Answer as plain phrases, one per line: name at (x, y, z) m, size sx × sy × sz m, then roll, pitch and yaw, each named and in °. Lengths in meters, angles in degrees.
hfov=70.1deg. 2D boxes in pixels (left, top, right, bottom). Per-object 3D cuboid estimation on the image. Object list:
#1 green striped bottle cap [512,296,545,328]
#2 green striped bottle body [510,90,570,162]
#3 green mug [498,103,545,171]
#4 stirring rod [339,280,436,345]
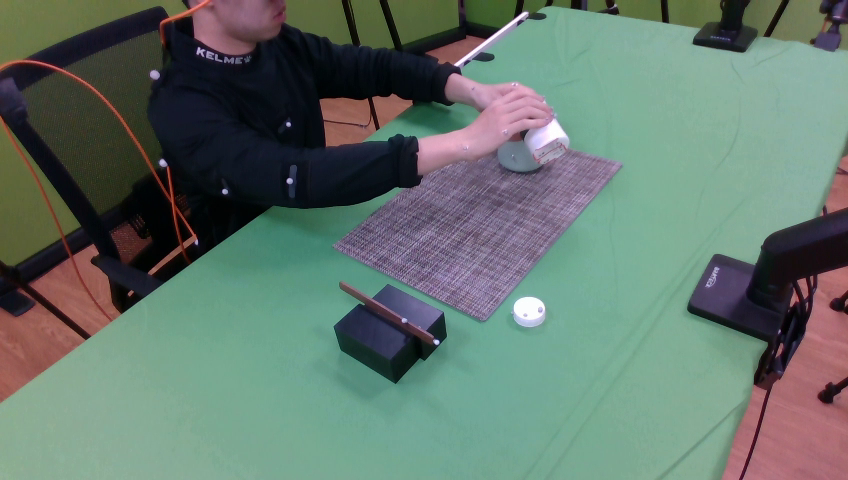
green striped bottle cap at (0.144, 0.099, 0.837) m, size 0.044 × 0.020 × 0.044 m, roll -2°, pitch 44°, yaw 2°
green striped bottle body at (0.183, -0.189, 0.982) m, size 0.063 × 0.063 × 0.118 m, roll -19°, pitch 62°, yaw -13°
green mug at (0.182, -0.197, 1.101) m, size 0.092 × 0.105 × 0.125 m, roll 3°, pitch 42°, yaw 12°
stirring rod at (-0.052, 0.093, 0.795) m, size 0.174 × 0.014 × 0.006 m, roll 27°, pitch 47°, yaw 33°
